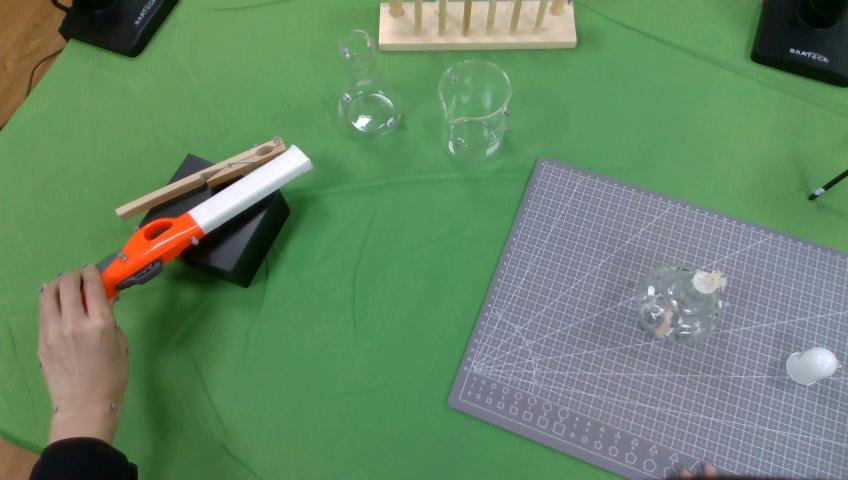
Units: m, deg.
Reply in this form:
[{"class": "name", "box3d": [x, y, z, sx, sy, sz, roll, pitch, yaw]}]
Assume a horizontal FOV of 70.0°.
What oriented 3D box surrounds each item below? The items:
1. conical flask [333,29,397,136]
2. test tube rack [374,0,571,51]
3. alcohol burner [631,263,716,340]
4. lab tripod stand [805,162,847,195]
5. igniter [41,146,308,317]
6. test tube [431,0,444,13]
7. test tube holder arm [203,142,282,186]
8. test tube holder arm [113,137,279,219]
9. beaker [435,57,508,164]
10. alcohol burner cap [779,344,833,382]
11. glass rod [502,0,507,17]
[{"class": "conical flask", "box3d": [-0.071, -0.175, 0.667, 0.075, 0.123, 0.075, -1, 67, 2]}, {"class": "test tube rack", "box3d": [0.059, -0.284, 0.729, 0.242, 0.086, 0.066, 0, 67, 1]}, {"class": "alcohol burner", "box3d": [0.239, 0.052, 0.567, 0.078, 0.120, 0.077, 0, 67, 0]}, {"class": "lab tripod stand", "box3d": [0.491, -0.089, 0.613, 0.148, 0.132, 0.147, 0, 67, 0]}, {"class": "igniter", "box3d": [-0.238, -0.011, 0.596, 0.276, 0.025, 0.056, -36, 59, -18]}, {"class": "test tube", "box3d": [0.019, -0.321, 0.691, 0.017, 0.151, 0.017, 1, 61, -2]}, {"class": "test tube holder arm", "box3d": [-0.189, -0.079, 0.633, 0.088, 0.015, 0.010, -24, 68, -9]}, {"class": "test tube holder arm", "box3d": [-0.232, -0.065, 0.628, 0.178, 0.015, 0.013, -25, 68, -10]}, {"class": "beaker", "box3d": [0.047, -0.134, 0.660, 0.073, 0.101, 0.084, 34, 72, 15]}, {"class": "alcohol burner cap", "box3d": [0.367, 0.115, 0.577, 0.034, 0.048, 0.033, 0, 67, 1]}, {"class": "glass rod", "box3d": [0.092, -0.333, 0.676, 0.008, 0.201, 0.008, -2, 59, 4]}]
